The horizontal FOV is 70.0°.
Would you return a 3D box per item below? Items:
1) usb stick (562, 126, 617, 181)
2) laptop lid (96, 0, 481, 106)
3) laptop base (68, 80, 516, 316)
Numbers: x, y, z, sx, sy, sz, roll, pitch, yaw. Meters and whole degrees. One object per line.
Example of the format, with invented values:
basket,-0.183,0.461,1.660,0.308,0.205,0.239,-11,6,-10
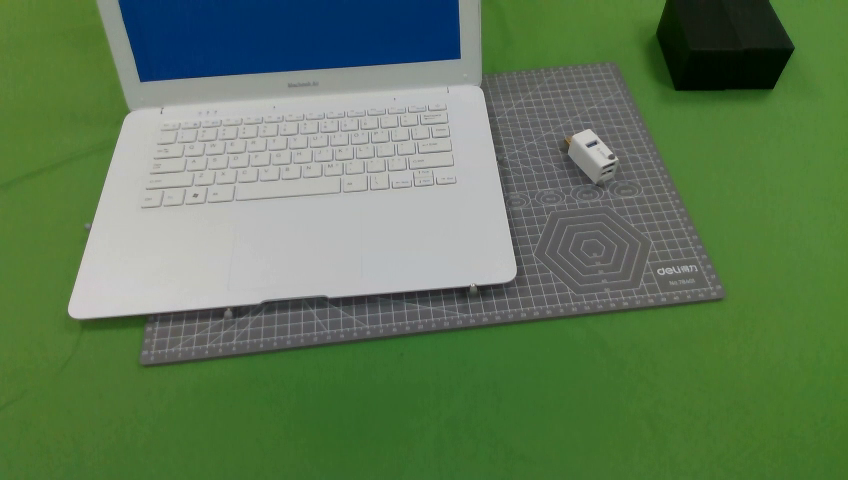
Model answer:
usb stick,0.148,-0.083,0.551,0.021,0.027,0.058,-24,54,-14
laptop lid,-0.125,-0.244,0.552,0.357,0.243,0.013,-6,29,-1
laptop base,-0.110,-0.047,0.540,0.354,0.023,0.233,-5,57,-1
